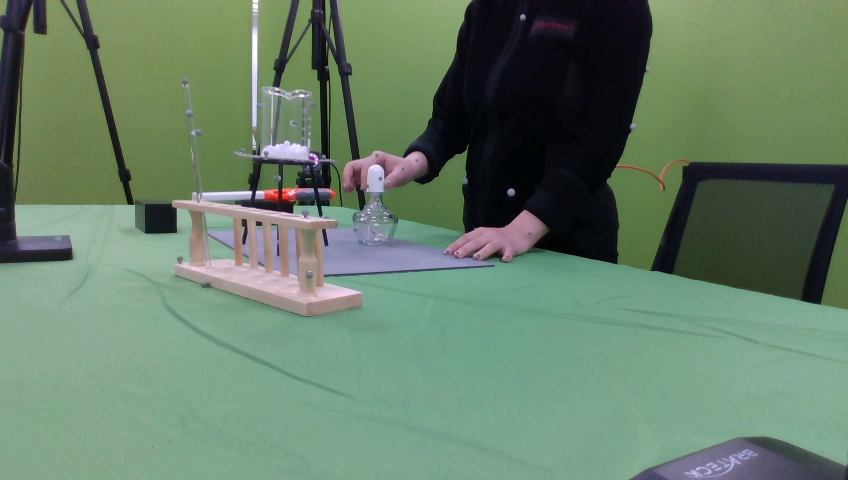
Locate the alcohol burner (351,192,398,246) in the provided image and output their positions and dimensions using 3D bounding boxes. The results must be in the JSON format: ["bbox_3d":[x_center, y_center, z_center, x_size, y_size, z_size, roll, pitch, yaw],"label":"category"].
[{"bbox_3d":[-0.080,-0.051,0.995,0.078,0.119,0.078,2,6,0],"label":"alcohol burner"}]

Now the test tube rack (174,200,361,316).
[{"bbox_3d":[-0.169,0.009,0.622,0.241,0.085,0.067,9,9,41],"label":"test tube rack"}]

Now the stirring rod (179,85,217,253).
[{"bbox_3d":[-0.236,-0.073,0.634,0.006,0.176,0.014,0,10,42],"label":"stirring rod"}]

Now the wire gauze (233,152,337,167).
[{"bbox_3d":[-0.205,-0.119,0.887,0.122,0.011,0.124,2,4,-32],"label":"wire gauze"}]

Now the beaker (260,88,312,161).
[{"bbox_3d":[-0.200,-0.166,0.876,0.074,0.100,0.083,1,7,-18],"label":"beaker"}]

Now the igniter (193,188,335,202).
[{"bbox_3d":[-0.312,-0.089,1.209,0.278,0.025,0.057,-5,13,-31],"label":"igniter"}]

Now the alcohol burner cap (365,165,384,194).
[{"bbox_3d":[-0.080,-0.099,0.989,0.034,0.048,0.034,1,4,0],"label":"alcohol burner cap"}]

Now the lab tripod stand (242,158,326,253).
[{"bbox_3d":[-0.207,-0.054,0.895,0.148,0.131,0.148,3,5,0],"label":"lab tripod stand"}]
